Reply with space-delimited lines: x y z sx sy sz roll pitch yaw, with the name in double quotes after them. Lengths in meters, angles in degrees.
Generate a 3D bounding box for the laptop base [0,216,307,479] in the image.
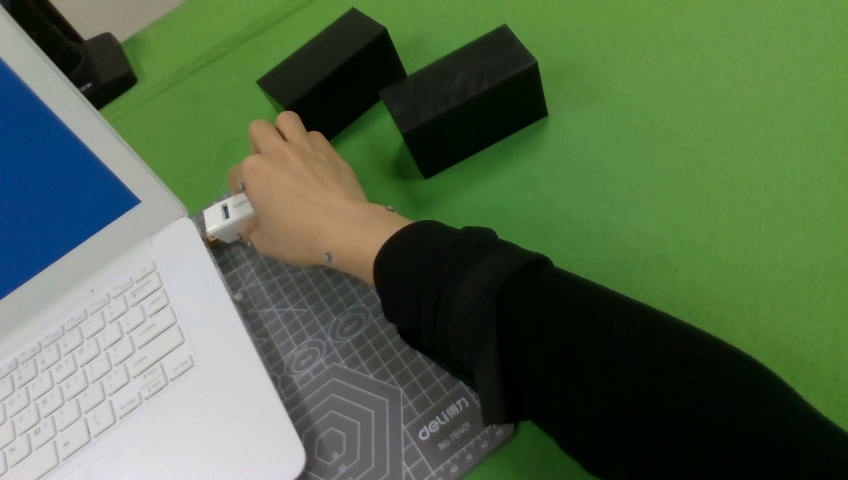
-0.260 0.156 0.389 0.354 0.023 0.233 -36 56 -5 "laptop base"

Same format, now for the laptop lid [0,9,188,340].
-0.370 0.005 0.385 0.356 0.244 0.013 -37 38 -4 "laptop lid"

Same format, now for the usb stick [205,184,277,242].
-0.139 -0.017 0.442 0.059 0.027 0.021 -25 64 17 "usb stick"
